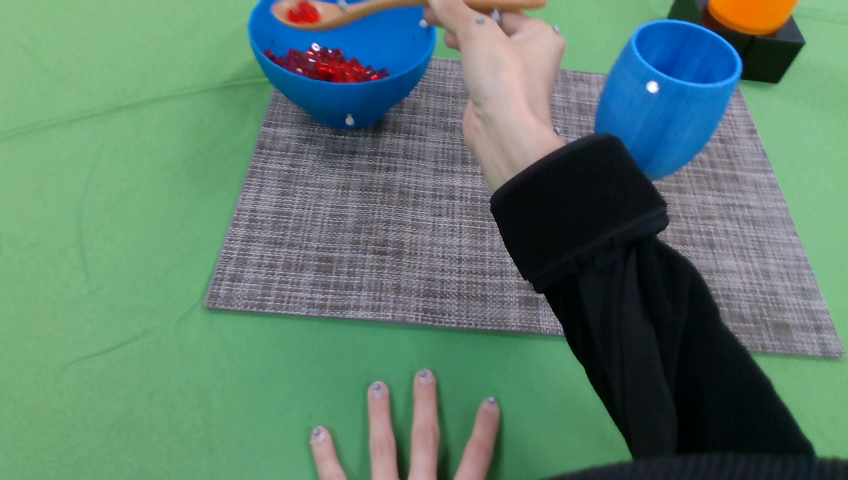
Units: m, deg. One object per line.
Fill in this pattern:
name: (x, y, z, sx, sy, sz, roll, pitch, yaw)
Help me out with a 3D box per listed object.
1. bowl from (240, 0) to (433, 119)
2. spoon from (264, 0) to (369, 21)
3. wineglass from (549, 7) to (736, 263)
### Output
bowl: (-0.071, -0.157, 0.513, 0.151, 0.077, 0.150, 3, 54, -4)
spoon: (-0.020, -0.159, 0.392, 0.193, 0.022, 0.041, 5, 44, 25)
wineglass: (0.135, -0.060, 0.405, 0.074, 0.173, 0.073, 3, 53, -3)
